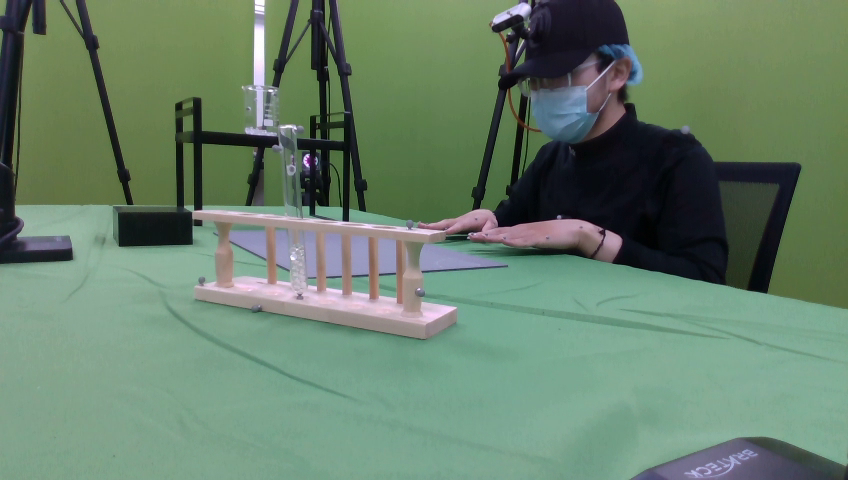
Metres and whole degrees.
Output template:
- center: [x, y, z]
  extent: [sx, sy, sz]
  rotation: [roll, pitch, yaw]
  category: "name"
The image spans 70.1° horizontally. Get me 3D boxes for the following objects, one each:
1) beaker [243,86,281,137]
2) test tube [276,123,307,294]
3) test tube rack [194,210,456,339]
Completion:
- center: [-0.338, -0.265, 1.253]
  extent: [0.073, 0.100, 0.084]
  rotation: [8, 9, 38]
  category: "beaker"
- center: [-0.116, -0.027, 0.532]
  extent: [0.017, 0.150, 0.017]
  rotation: [-3, 7, 1]
  category: "test tube"
- center: [-0.093, 0.023, 0.546]
  extent: [0.241, 0.085, 0.067]
  rotation: [6, 8, 25]
  category: "test tube rack"
